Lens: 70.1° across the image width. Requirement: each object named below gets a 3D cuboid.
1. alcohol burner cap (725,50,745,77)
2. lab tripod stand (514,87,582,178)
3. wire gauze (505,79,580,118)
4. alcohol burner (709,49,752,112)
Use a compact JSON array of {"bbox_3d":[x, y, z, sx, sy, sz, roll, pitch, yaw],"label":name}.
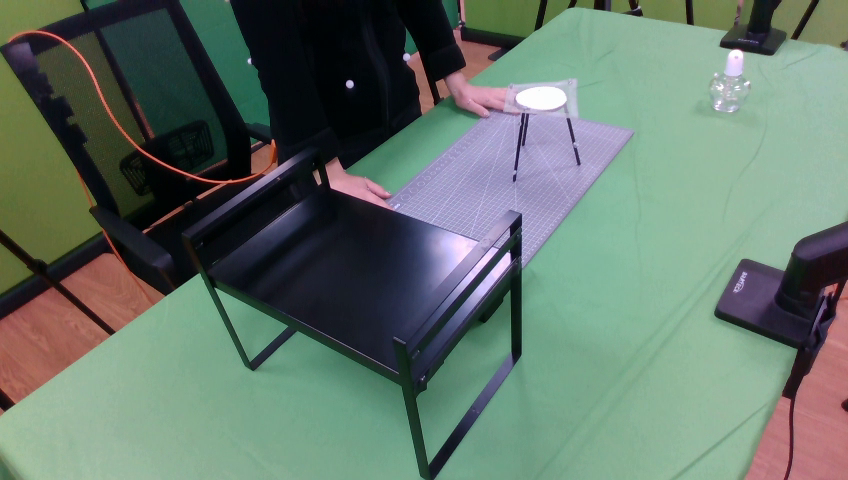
[{"bbox_3d":[0.596,-0.340,1.154,0.034,0.048,0.033,-8,45,8],"label":"alcohol burner cap"},{"bbox_3d":[0.211,-0.196,1.082,0.148,0.132,0.147,-3,40,3],"label":"lab tripod stand"},{"bbox_3d":[0.203,-0.244,1.036,0.125,0.011,0.121,4,41,11],"label":"wire gauze"},{"bbox_3d":[0.600,-0.313,1.178,0.078,0.119,0.077,-5,40,5],"label":"alcohol burner"}]
